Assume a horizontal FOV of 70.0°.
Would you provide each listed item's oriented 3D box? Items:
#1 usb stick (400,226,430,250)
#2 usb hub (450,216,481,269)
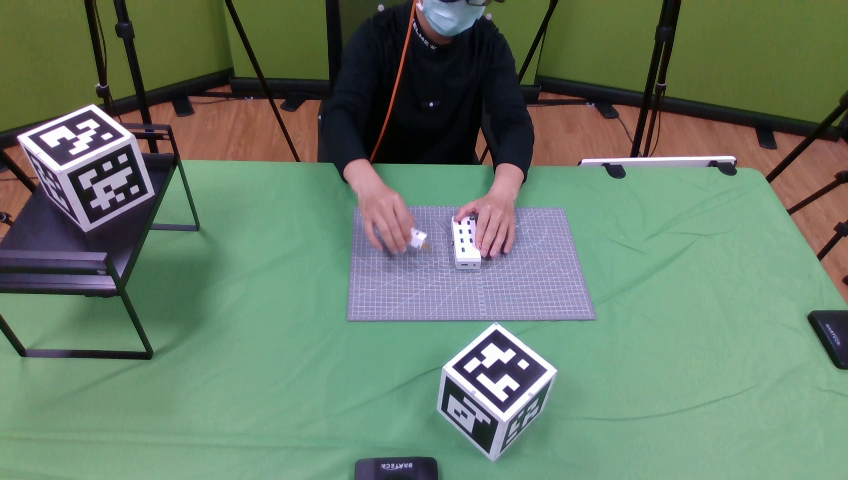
[{"bbox_3d":[-0.015,-0.001,1.146,0.059,0.027,0.021,27,31,10],"label":"usb stick"},{"bbox_3d":[0.082,0.004,1.194,0.049,0.025,0.124,0,46,-5],"label":"usb hub"}]
